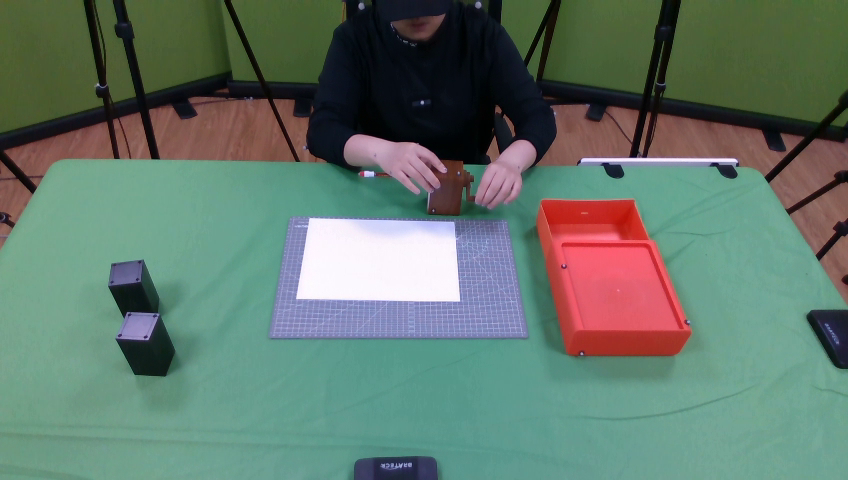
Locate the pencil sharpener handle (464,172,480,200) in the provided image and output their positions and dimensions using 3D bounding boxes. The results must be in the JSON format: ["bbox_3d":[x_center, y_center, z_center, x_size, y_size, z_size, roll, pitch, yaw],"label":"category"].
[{"bbox_3d":[0.097,-0.109,1.222,0.031,0.036,0.067,3,66,-3],"label":"pencil sharpener handle"}]

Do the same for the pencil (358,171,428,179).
[{"bbox_3d":[-0.036,-0.129,1.223,0.194,0.012,0.012,2,45,-3],"label":"pencil"}]

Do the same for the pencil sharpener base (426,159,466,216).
[{"bbox_3d":[0.044,-0.106,1.246,0.077,0.107,0.061,3,45,-3],"label":"pencil sharpener base"}]

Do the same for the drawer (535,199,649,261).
[{"bbox_3d":[0.332,0.015,1.170,0.195,0.073,0.210,0,47,-5],"label":"drawer"}]

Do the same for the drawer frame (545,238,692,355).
[{"bbox_3d":[0.338,0.097,1.085,0.202,0.083,0.212,0,46,-4],"label":"drawer frame"}]
